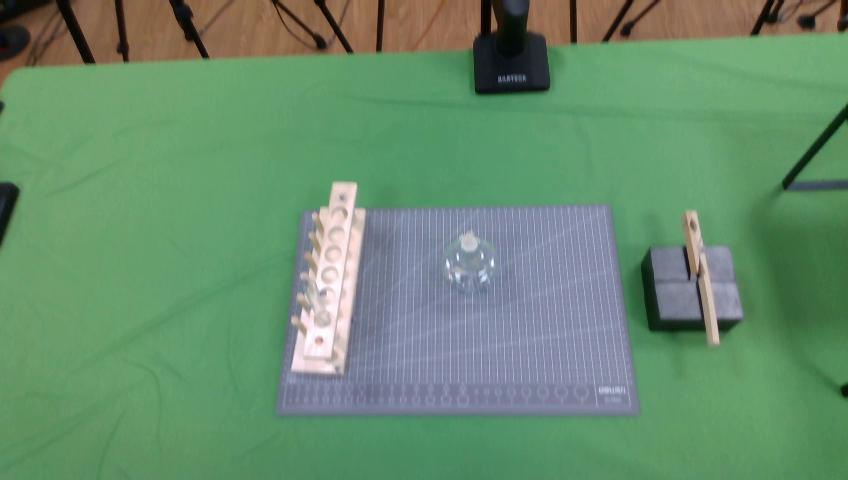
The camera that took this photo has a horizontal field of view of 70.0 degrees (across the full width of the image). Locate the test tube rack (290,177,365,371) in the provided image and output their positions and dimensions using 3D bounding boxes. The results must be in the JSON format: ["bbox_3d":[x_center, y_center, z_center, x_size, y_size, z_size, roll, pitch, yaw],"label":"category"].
[{"bbox_3d":[-0.130,0.042,0.795,0.067,0.086,0.240,3,65,5],"label":"test tube rack"}]

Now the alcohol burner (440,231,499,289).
[{"bbox_3d":[0.058,0.017,0.780,0.078,0.120,0.077,-2,66,4],"label":"alcohol burner"}]

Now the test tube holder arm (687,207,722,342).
[{"bbox_3d":[0.346,0.039,0.755,0.013,0.015,0.177,-1,64,-2],"label":"test tube holder arm"}]

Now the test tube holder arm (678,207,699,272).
[{"bbox_3d":[0.339,-0.001,0.774,0.010,0.015,0.087,0,64,-2],"label":"test tube holder arm"}]

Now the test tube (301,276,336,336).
[{"bbox_3d":[-0.123,0.083,0.720,0.017,0.151,0.017,-1,59,2],"label":"test tube"}]
